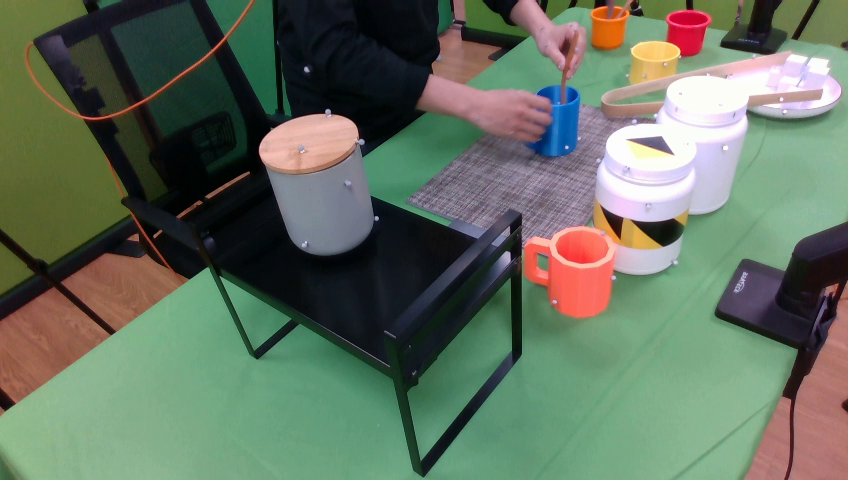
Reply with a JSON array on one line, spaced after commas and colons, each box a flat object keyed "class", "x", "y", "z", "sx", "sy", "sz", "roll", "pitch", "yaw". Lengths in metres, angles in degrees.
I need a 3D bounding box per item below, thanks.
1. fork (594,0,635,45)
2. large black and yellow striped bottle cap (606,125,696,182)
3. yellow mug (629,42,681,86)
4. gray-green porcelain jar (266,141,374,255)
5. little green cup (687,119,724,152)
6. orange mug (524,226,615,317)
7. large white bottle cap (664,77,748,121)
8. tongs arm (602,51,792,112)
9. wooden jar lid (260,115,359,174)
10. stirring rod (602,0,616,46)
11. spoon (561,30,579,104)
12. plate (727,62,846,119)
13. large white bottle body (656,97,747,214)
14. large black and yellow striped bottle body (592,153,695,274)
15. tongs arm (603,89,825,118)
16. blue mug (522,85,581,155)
[{"class": "fork", "x": 0.484, "y": -0.552, "z": 1.447, "sx": 0.207, "sy": 0.019, "sz": 0.028, "roll": -51, "pitch": 46, "yaw": 17}, {"class": "large black and yellow striped bottle cap", "x": 0.305, "y": -0.119, "z": 0.816, "sx": 0.115, "sy": 0.019, "sz": 0.114, "roll": -5, "pitch": 41, "yaw": 5}, {"class": "yellow mug", "x": 0.495, "y": -0.389, "z": 1.321, "sx": 0.100, "sy": 0.064, "sz": 0.130, "roll": -14, "pitch": 40, "yaw": -6}, {"class": "gray-green porcelain jar", "x": -0.117, "y": -0.054, "z": 0.703, "sx": 0.106, "sy": 0.127, "sz": 0.105, "roll": -4, "pitch": 40, "yaw": 4}, {"class": "little green cup", "x": 0.514, "y": -0.191, "z": 1.109, "sx": 0.061, "sy": 0.039, "sz": 0.061, "roll": -5, "pitch": 40, "yaw": 5}, {"class": "orange mug", "x": 0.201, "y": 0.039, "z": 0.845, "sx": 0.125, "sy": 0.101, "sz": 0.083, "roll": 18, "pitch": 46, "yaw": 21}, {"class": "large white bottle cap", "x": 0.421, "y": -0.212, "z": 0.905, "sx": 0.115, "sy": 0.018, "sz": 0.114, "roll": -4, "pitch": 40, "yaw": 4}, {"class": "tongs arm", "x": 0.552, "y": -0.320, "z": 1.224, "sx": 0.384, "sy": 0.027, "sz": 0.050, "roll": -10, "pitch": 43, "yaw": 7}, {"class": "wooden jar lid", "x": -0.124, "y": -0.101, "z": 0.662, "sx": 0.108, "sy": 0.021, "sz": 0.108, "roll": -4, "pitch": 41, "yaw": 4}, {"class": "stirring rod", "x": 0.452, "y": -0.554, "z": 1.464, "sx": 0.014, "sy": 0.006, "sz": 0.176, "roll": 11, "pitch": 86, "yaw": 15}, {"class": "spoon", "x": 0.255, "y": -0.284, "z": 1.090, "sx": 0.021, "sy": 0.194, "sz": 0.041, "roll": 4, "pitch": 45, "yaw": 7}, {"class": "plate", "x": 0.709, "y": -0.292, "z": 1.197, "sx": 0.207, "sy": 0.039, "sz": 0.206, "roll": -4, "pitch": 40, "yaw": 4}, {"class": "large white bottle body", "x": 0.431, "y": -0.148, "z": 0.959, "sx": 0.130, "sy": 0.185, "sz": 0.130, "roll": -4, "pitch": 41, "yaw": 4}, {"class": "large black and yellow striped bottle body", "x": 0.313, "y": -0.056, "z": 0.872, "sx": 0.131, "sy": 0.185, "sz": 0.130, "roll": -4, "pitch": 41, "yaw": 4}, {"class": "tongs arm", "x": 0.546, "y": -0.262, "z": 1.163, "sx": 0.386, "sy": 0.028, "sz": 0.028, "roll": -1, "pitch": 49, "yaw": 18}, {"class": "blue mug", "x": 0.234, "y": -0.219, "z": 1.127, "sx": 0.117, "sy": 0.106, "sz": 0.081, "roll": -21, "pitch": 42, "yaw": -15}]
